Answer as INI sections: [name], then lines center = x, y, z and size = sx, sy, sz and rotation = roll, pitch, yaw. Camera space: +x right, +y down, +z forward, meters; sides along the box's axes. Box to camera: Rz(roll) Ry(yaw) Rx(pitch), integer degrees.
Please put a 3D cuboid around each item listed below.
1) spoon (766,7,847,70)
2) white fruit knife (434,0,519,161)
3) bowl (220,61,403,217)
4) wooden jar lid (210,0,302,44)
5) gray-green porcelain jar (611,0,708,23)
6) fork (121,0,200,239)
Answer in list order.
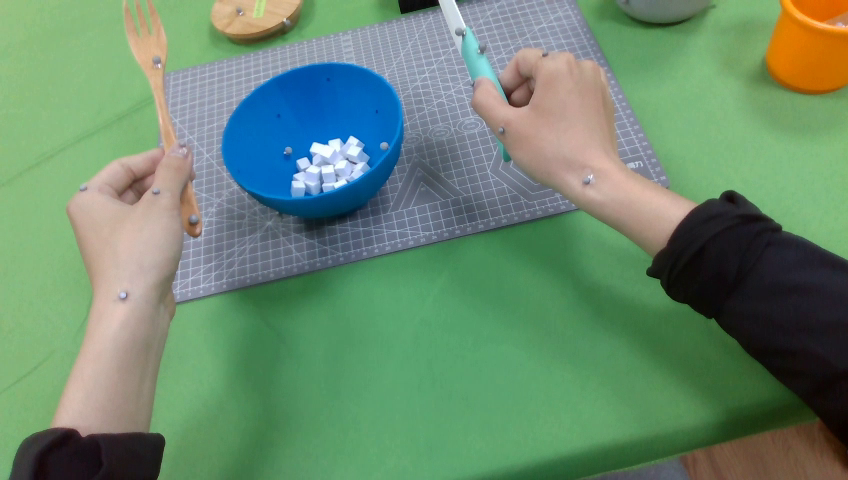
[spoon]
center = 0.374, -0.201, 0.485
size = 0.022, 0.194, 0.041
rotation = 16, 55, -34
[white fruit knife]
center = 0.031, -0.155, 0.482
size = 0.016, 0.027, 0.205
rotation = -10, 66, -25
[bowl]
center = -0.086, -0.072, 0.519
size = 0.151, 0.077, 0.150
rotation = -4, 57, 7
[wooden jar lid]
center = -0.192, -0.265, 0.698
size = 0.108, 0.021, 0.107
rotation = -3, 57, 5
[gray-green porcelain jar]
center = 0.231, -0.283, 0.575
size = 0.106, 0.128, 0.105
rotation = -5, 57, 8
[fork]
center = -0.194, -0.094, 0.449
size = 0.028, 0.019, 0.206
rotation = -11, 69, -28
